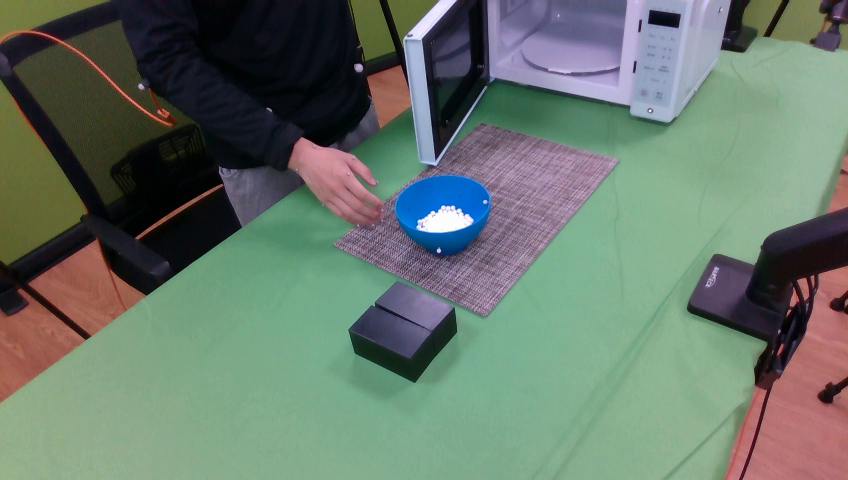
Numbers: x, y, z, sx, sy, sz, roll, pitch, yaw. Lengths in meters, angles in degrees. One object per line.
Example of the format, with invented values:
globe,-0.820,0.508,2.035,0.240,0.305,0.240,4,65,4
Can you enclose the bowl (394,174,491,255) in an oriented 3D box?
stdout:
bowl,0.032,-0.029,0.949,0.151,0.077,0.150,-4,40,4

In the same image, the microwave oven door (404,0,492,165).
microwave oven door,0.057,-0.343,1.166,0.039,0.245,0.356,10,43,20

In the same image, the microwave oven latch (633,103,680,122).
microwave oven latch,0.443,-0.249,1.157,0.078,0.029,0.030,21,49,30

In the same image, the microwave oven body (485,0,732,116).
microwave oven body,0.377,-0.462,1.267,0.438,0.261,0.327,21,48,30
